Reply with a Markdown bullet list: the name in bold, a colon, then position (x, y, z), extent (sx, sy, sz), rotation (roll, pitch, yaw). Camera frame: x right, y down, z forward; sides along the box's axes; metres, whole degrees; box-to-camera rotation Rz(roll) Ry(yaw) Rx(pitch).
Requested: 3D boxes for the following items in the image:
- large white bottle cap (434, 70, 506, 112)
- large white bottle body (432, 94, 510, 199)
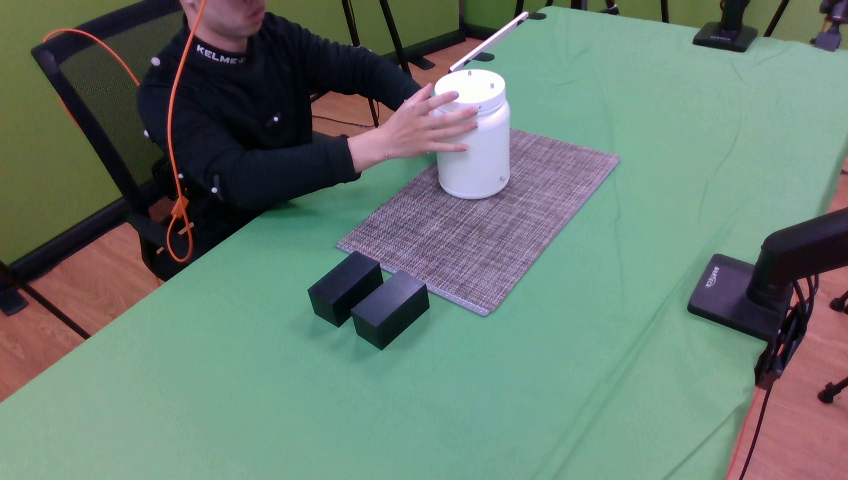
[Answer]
- **large white bottle cap**: position (0.074, -0.242, 0.975), extent (0.115, 0.018, 0.114), rotation (-4, 41, 4)
- **large white bottle body**: position (0.082, -0.177, 1.032), extent (0.130, 0.185, 0.130), rotation (-4, 41, 4)
